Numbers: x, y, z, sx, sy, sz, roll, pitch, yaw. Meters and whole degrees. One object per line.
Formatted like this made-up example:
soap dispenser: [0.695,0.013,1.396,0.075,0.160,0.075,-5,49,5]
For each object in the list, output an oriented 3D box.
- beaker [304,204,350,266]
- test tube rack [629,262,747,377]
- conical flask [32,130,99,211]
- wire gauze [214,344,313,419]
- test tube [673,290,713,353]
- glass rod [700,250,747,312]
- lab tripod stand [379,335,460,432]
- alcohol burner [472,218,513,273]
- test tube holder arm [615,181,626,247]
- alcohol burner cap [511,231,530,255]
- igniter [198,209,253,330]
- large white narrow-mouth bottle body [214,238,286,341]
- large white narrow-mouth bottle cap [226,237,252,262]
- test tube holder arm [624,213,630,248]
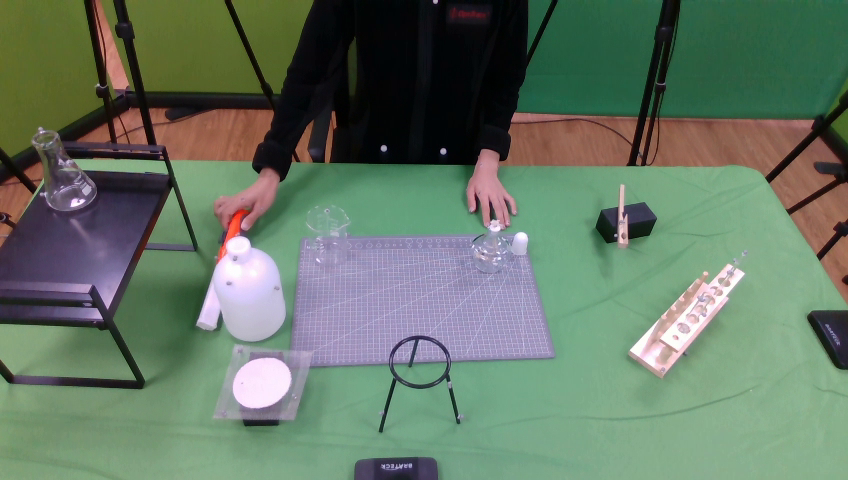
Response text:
beaker: [-0.178,-0.006,1.132,0.084,0.101,0.073,4,46,-1]
test tube rack: [0.464,0.126,1.060,0.242,0.085,0.066,-34,56,-30]
conical flask: [-0.565,-0.110,0.944,0.075,0.122,0.075,2,46,-2]
wire gauze: [-0.241,0.213,0.915,0.121,0.011,0.124,5,46,1]
test tube: [0.429,0.135,0.981,0.017,0.151,0.017,4,44,-4]
glass rod: [0.500,0.075,1.021,0.008,0.201,0.008,0,54,1]
lab tripod stand: [-0.011,0.214,0.911,0.148,0.132,0.147,1,45,0]
alcohol burner: [0.128,0.005,1.132,0.078,0.120,0.077,0,47,0]
test tube holder arm: [0.393,-0.055,1.210,0.013,0.015,0.177,16,48,-6]
alcohol burner cap: [0.191,0.003,1.188,0.034,0.048,0.033,2,46,-2]
igniter: [-0.361,0.043,1.114,0.057,0.025,0.275,33,40,-30]
large white narrow-mouth bottle body: [-0.285,0.073,0.986,0.102,0.195,0.101,2,46,-2]
large white narrow-mouth bottle cap: [-0.282,0.014,0.923,0.038,0.024,0.037,2,46,-2]
test tube holder arm: [0.391,-0.020,1.181,0.010,0.015,0.087,17,48,-5]
